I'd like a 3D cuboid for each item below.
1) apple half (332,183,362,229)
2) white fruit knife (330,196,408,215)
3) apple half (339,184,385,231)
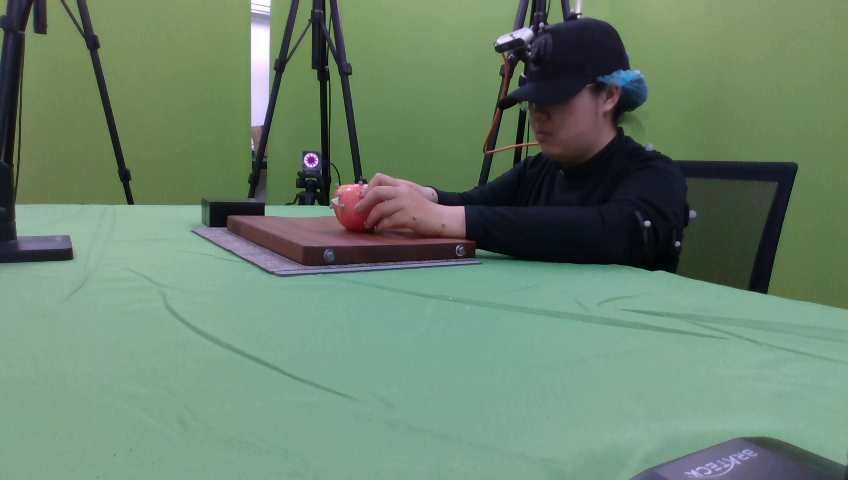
[{"bbox_3d":[-0.126,-0.055,0.972,0.032,0.081,0.081,7,8,31],"label":"apple half"},{"bbox_3d":[-0.087,-0.060,1.004,0.016,0.027,0.208,8,4,31],"label":"white fruit knife"},{"bbox_3d":[-0.090,-0.050,0.952,0.053,0.074,0.081,11,7,28],"label":"apple half"}]
